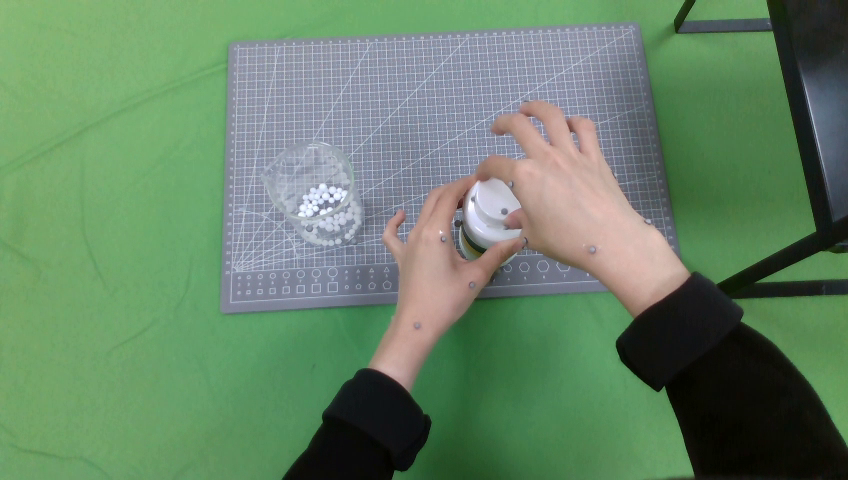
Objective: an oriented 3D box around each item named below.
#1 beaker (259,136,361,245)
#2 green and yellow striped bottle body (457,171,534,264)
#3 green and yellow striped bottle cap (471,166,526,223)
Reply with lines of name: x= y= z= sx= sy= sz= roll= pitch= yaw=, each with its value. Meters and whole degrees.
beaker: x=-0.100 y=-0.041 z=0.562 sx=0.084 sy=0.101 sz=0.073 roll=8 pitch=73 yaw=3
green and yellow striped bottle body: x=0.063 y=-0.022 z=0.546 sx=0.063 sy=0.120 sz=0.063 roll=0 pitch=74 yaw=1
green and yellow striped bottle cap: x=0.061 y=-0.038 z=0.494 sx=0.045 sy=0.020 sz=0.045 roll=0 pitch=72 yaw=0
